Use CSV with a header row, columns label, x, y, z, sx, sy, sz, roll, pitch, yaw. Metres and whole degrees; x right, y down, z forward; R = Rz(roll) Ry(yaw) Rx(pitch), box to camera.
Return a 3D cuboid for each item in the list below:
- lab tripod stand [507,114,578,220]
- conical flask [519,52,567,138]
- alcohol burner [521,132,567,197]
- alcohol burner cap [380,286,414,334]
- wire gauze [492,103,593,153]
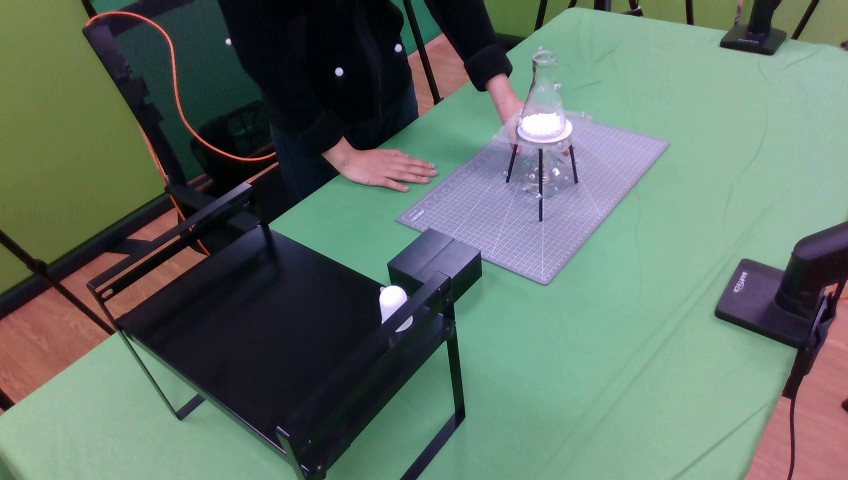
label,x,y,z,sx,sy,sz,roll,pitch,yaw
lab tripod stand,0.198,-0.128,1.005,0.148,0.132,0.147,-3,42,3
conical flask,0.183,-0.223,0.926,0.075,0.122,0.075,-4,41,4
alcohol burner,0.203,-0.132,1.026,0.078,0.119,0.077,-5,42,5
alcohol burner cap,-0.029,0.068,0.605,0.034,0.048,0.033,-5,39,4
wire gauze,0.190,-0.179,0.965,0.120,0.011,0.125,17,49,29
